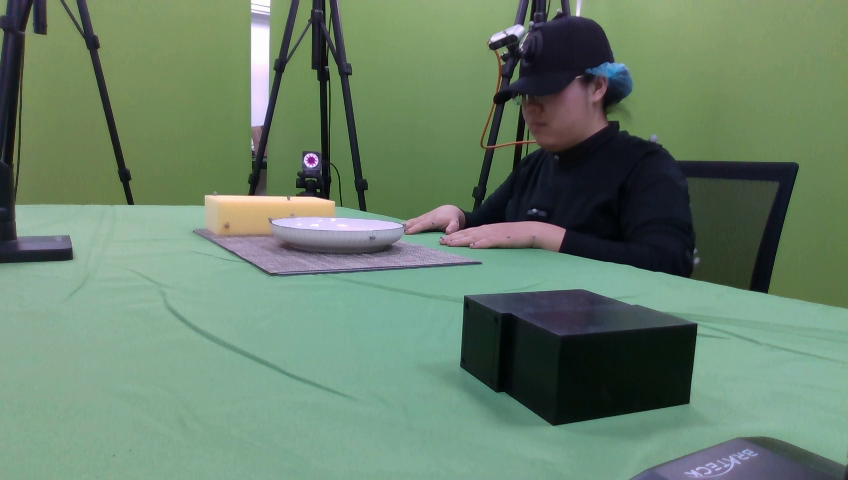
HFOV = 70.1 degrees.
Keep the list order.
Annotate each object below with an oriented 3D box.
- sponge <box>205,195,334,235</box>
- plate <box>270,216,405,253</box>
[{"bbox_3d":[-0.280,-0.047,1.097,0.208,0.061,0.117,-2,9,-30],"label":"sponge"},{"bbox_3d":[-0.134,-0.010,0.946,0.208,0.039,0.207,2,7,0],"label":"plate"}]
